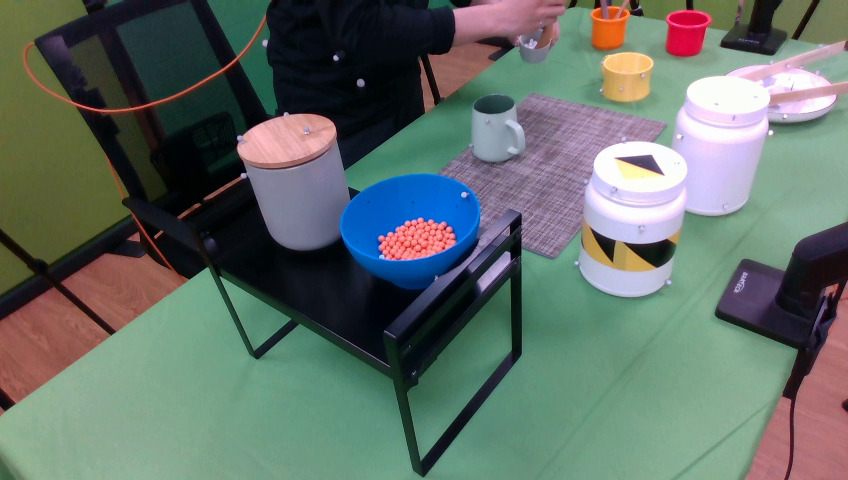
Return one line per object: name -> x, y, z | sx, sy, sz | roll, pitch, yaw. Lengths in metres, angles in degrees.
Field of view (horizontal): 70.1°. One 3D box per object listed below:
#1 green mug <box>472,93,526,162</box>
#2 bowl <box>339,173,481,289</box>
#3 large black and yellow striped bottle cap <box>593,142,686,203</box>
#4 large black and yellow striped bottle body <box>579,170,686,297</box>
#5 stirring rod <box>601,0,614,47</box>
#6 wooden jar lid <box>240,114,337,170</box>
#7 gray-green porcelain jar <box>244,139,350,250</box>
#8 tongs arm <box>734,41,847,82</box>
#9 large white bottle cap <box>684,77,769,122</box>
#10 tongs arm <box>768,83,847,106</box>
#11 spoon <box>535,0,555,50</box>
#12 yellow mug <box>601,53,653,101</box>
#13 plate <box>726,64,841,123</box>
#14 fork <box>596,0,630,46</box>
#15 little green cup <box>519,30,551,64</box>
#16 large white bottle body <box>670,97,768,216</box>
green mug -> 0.144, -0.202, 1.122 | 0.093, 0.105, 0.124 | -29, 45, -23
bowl -> -0.011, 0.001, 0.660 | 0.151, 0.077, 0.150 | -5, 41, 5
large black and yellow striped bottle cap -> 0.280, -0.090, 0.786 | 0.115, 0.019, 0.114 | -5, 41, 5
large black and yellow striped bottle body -> 0.287, -0.027, 0.841 | 0.131, 0.185, 0.130 | -4, 40, 4
stirring rod -> 0.439, -0.552, 1.463 | 0.014, 0.006, 0.175 | -7, 83, 3
wooden jar lid -> -0.149, -0.106, 0.674 | 0.108, 0.021, 0.108 | -6, 39, 5
gray-green porcelain jar -> -0.143, -0.060, 0.714 | 0.106, 0.127, 0.105 | -4, 41, 4
tongs arm -> 0.712, -0.332, 1.194 | 0.386, 0.026, 0.050 | -18, 45, -16
large white bottle cap -> 0.448, -0.209, 0.898 | 0.115, 0.018, 0.114 | -4, 40, 4
tongs arm -> 0.738, -0.282, 1.134 | 0.388, 0.028, 0.028 | -9, 47, -5
spoon -> 0.234, -0.425, 1.099 | 0.042, 0.194, 0.021 | -34, 60, -31
yellow mug -> 0.423, -0.354, 1.292 | 0.100, 0.064, 0.129 | -23, 42, -16
plate -> 0.695, -0.282, 1.189 | 0.207, 0.039, 0.206 | -4, 40, 4
fork -> 0.481, -0.556, 1.453 | 0.028, 0.019, 0.207 | 40, 103, 38
little green cup -> 0.216, -0.375, 1.181 | 0.061, 0.039, 0.061 | -4, 56, 6
large white bottle body -> 0.458, -0.146, 0.952 | 0.130, 0.185, 0.130 | -4, 40, 4
